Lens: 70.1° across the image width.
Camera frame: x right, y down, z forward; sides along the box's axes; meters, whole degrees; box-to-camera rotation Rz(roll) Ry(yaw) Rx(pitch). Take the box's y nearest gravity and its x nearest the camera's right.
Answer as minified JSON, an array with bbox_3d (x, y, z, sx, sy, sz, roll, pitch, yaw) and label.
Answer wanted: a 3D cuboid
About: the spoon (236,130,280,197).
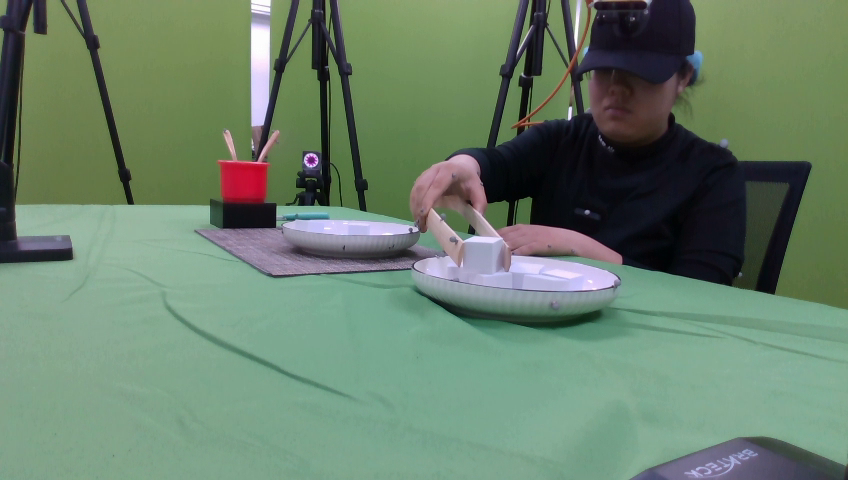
[{"bbox_3d":[-0.321,-0.153,1.192,0.041,0.193,0.022,1,-37,19],"label":"spoon"}]

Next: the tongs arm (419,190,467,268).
[{"bbox_3d":[0.029,-0.025,0.743,0.051,0.026,0.384,2,12,-9],"label":"tongs arm"}]

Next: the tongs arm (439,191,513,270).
[{"bbox_3d":[0.057,-0.023,0.746,0.028,0.028,0.387,-1,12,-6],"label":"tongs arm"}]

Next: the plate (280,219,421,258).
[{"bbox_3d":[-0.108,-0.002,0.902,0.208,0.039,0.207,3,7,0],"label":"plate"}]

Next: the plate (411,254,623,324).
[{"bbox_3d":[0.090,0.047,0.609,0.209,0.038,0.209,2,7,0],"label":"plate"}]

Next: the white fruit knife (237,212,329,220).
[{"bbox_3d":[-0.304,-0.050,1.328,0.208,0.016,0.027,-3,-19,-29],"label":"white fruit knife"}]

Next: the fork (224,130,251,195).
[{"bbox_3d":[-0.372,-0.155,1.193,0.028,0.018,0.206,-17,54,-14],"label":"fork"}]
